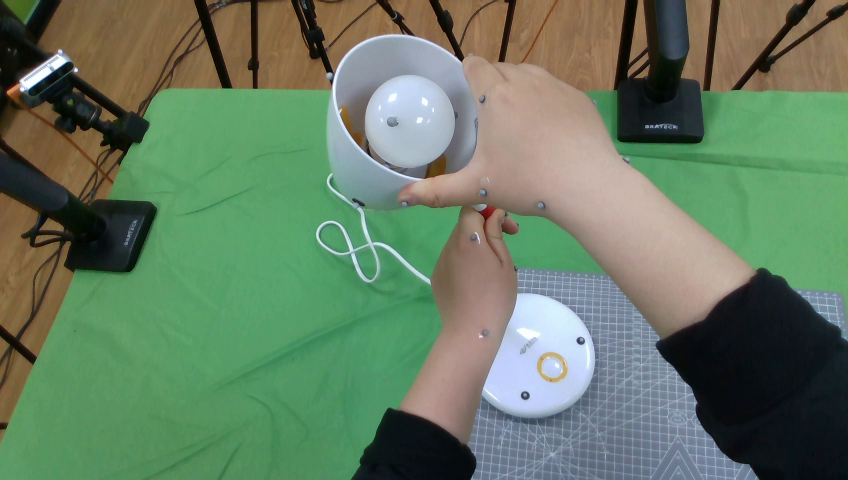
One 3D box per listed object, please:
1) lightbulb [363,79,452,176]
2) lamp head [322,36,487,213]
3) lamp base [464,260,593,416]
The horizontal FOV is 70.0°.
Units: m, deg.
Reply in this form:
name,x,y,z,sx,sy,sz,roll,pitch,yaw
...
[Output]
name,x,y,z,sx,sy,sz,roll,pitch,yaw
lightbulb,-0.017,-0.067,0.426,0.060,0.108,0.059,6,65,-12
lamp head,-0.022,-0.069,0.451,0.113,0.123,0.111,5,68,-13
lamp base,0.107,0.098,0.699,0.178,0.182,0.160,28,69,25
